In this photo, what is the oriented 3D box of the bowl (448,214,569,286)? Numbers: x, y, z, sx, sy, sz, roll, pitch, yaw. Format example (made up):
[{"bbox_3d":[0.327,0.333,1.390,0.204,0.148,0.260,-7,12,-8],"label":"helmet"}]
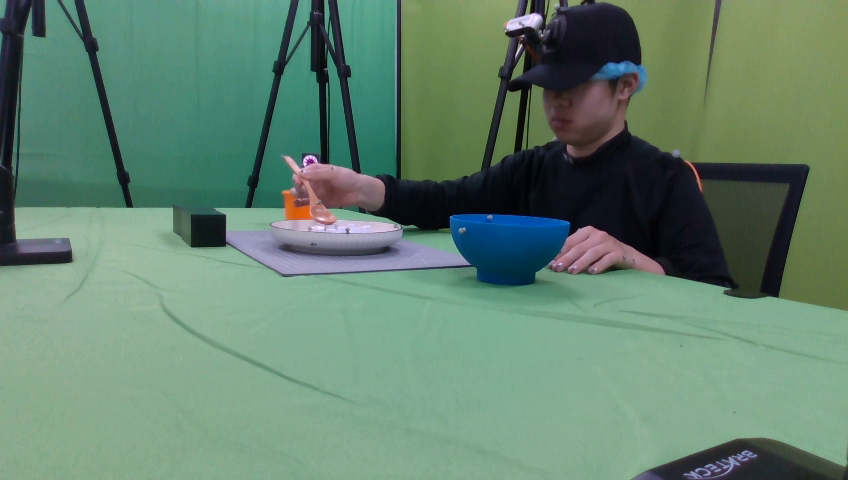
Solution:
[{"bbox_3d":[0.103,0.012,0.758,0.151,0.077,0.151,2,7,0],"label":"bowl"}]

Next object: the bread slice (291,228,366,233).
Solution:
[{"bbox_3d":[-0.143,-0.003,0.953,0.135,0.018,0.106,-1,9,-37],"label":"bread slice"}]

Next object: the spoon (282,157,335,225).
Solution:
[{"bbox_3d":[-0.199,-0.086,1.016,0.042,0.021,0.193,-4,45,-36],"label":"spoon"}]

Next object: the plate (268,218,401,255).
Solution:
[{"bbox_3d":[-0.140,-0.006,0.958,0.209,0.038,0.209,3,7,0],"label":"plate"}]
